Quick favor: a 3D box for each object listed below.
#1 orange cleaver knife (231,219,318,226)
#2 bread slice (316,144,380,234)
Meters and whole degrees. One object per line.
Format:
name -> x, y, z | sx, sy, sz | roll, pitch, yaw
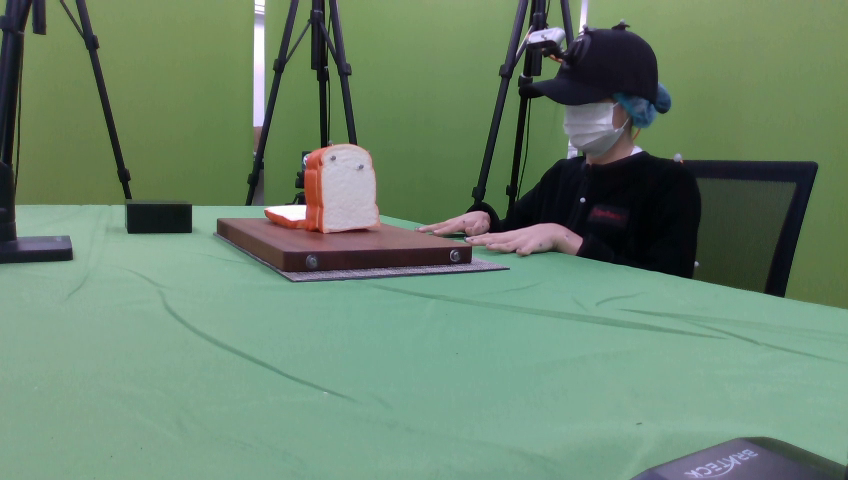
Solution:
orange cleaver knife -> -0.276, -0.034, 1.200 | 0.212, 0.012, 0.077 | 2, 4, -26
bread slice -> -0.120, -0.078, 0.924 | 0.107, 0.134, 0.018 | -12, 9, -42
